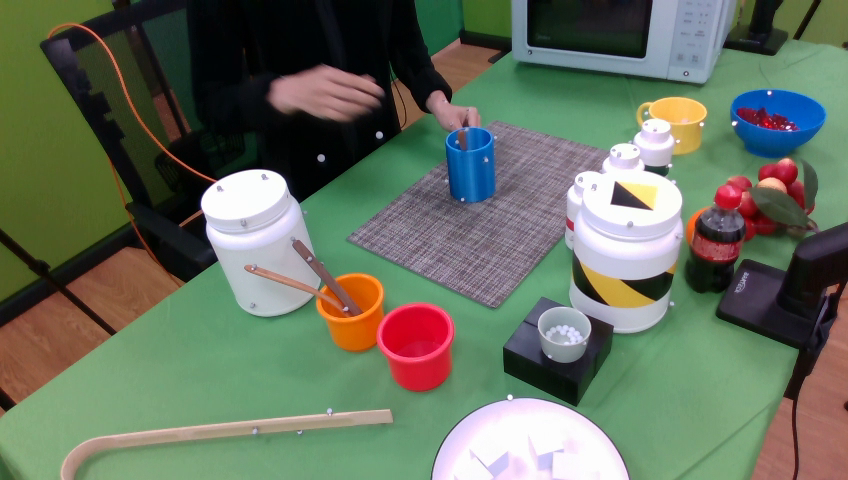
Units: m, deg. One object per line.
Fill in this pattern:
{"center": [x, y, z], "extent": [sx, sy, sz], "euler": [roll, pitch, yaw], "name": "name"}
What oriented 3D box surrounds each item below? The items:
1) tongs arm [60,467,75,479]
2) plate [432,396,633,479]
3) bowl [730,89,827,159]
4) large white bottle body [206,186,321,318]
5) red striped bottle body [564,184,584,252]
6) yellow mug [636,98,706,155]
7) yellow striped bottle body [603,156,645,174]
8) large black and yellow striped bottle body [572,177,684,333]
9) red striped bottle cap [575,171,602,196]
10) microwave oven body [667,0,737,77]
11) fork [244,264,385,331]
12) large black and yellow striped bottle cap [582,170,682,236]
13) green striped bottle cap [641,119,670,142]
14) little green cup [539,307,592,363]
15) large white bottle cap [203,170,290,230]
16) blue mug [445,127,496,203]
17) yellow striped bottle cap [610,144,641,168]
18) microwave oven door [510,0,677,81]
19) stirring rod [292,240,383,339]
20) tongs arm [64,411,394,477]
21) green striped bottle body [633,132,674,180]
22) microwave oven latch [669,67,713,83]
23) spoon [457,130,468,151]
{"center": [-0.239, 0.301, 0.648], "extent": [0.386, 0.028, 0.028], "euler": [6, 49, 16], "name": "tongs arm"}
{"center": [0.112, 0.261, 0.634], "extent": [0.209, 0.038, 0.208], "euler": [-5, 40, 4], "name": "plate"}
{"center": [0.615, -0.197, 1.069], "extent": [0.151, 0.077, 0.150], "euler": [-5, 40, 5], "name": "bowl"}
{"center": [-0.233, 0.008, 0.876], "extent": [0.130, 0.185, 0.130], "euler": [-5, 40, 4], "name": "large white bottle body"}
{"center": [0.247, -0.041, 0.910], "extent": [0.063, 0.120, 0.062], "euler": [-3, 39, 3], "name": "red striped bottle body"}
{"center": [0.453, -0.217, 1.128], "extent": [0.100, 0.064, 0.129], "euler": [-34, 46, -27], "name": "yellow mug"}
{"center": [0.313, -0.089, 0.956], "extent": [0.063, 0.121, 0.062], "euler": [-4, 40, 4], "name": "yellow striped bottle body"}
{"center": [0.262, 0.017, 0.788], "extent": [0.131, 0.185, 0.130], "euler": [-5, 40, 4], "name": "large black and yellow striped bottle body"}
{"center": [0.242, -0.081, 0.876], "extent": [0.044, 0.018, 0.044], "euler": [-5, 44, 5], "name": "red striped bottle cap"}
{"center": [0.462, -0.552, 1.369], "extent": [0.439, 0.261, 0.326], "euler": [15, 45, 26], "name": "microwave oven body"}
{"center": [-0.142, 0.078, 0.806], "extent": [0.209, 0.018, 0.028], "euler": [30, 34, -24], "name": "fork"}
{"center": [0.252, -0.048, 0.735], "extent": [0.115, 0.019, 0.114], "euler": [-3, 40, 3], "name": "large black and yellow striped bottle cap"}
{"center": [0.371, -0.175, 0.968], "extent": [0.044, 0.020, 0.044], "euler": [-5, 41, 5], "name": "green striped bottle cap"}
{"center": [0.167, 0.114, 0.721], "extent": [0.061, 0.039, 0.061], "euler": [-4, 43, 4], "name": "little green cup"}
{"center": [-0.241, -0.057, 0.822], "extent": [0.115, 0.018, 0.114], "euler": [-4, 41, 4], "name": "large white bottle cap"}
{"center": [0.082, -0.140, 1.060], "extent": [0.082, 0.106, 0.116], "euler": [-5, 40, 4], "name": "blue mug"}
{"center": [0.307, -0.128, 0.923], "extent": [0.044, 0.019, 0.044], "euler": [-5, 39, 5], "name": "yellow striped bottle cap"}
{"center": [0.354, -0.478, 1.290], "extent": [0.353, 0.245, 0.039], "euler": [15, 45, 25], "name": "microwave oven door"}
{"center": [-0.118, 0.068, 0.826], "extent": [0.176, 0.006, 0.014], "euler": [48, 59, -4], "name": "stirring rod"}
{"center": [-0.228, 0.241, 0.715], "extent": [0.385, 0.026, 0.050], "euler": [-5, 43, 4], "name": "tongs arm"}
{"center": [0.376, -0.135, 1.001], "extent": [0.063, 0.120, 0.063], "euler": [-5, 40, 5], "name": "green striped bottle body"}
{"center": [0.556, -0.348, 1.262], "extent": [0.078, 0.029, 0.030], "euler": [16, 46, 27], "name": "microwave oven latch"}
{"center": [0.068, -0.144, 0.998], "extent": [0.041, 0.194, 0.021], "euler": [-7, 74, 8], "name": "spoon"}
